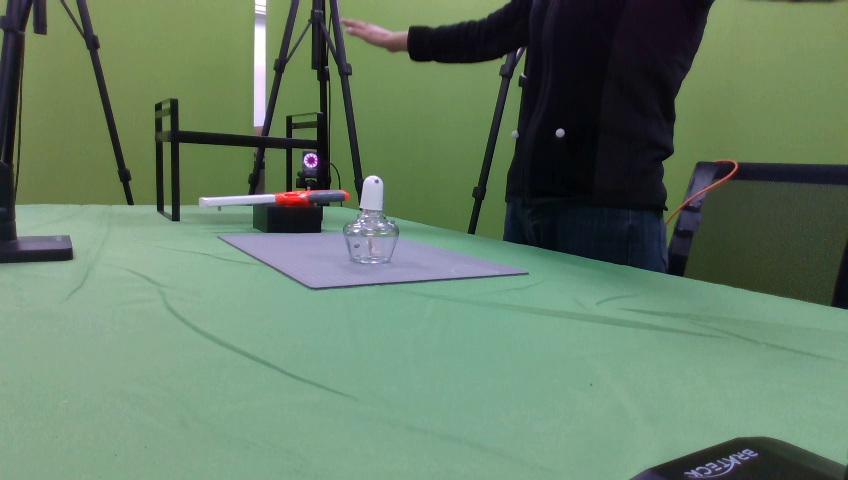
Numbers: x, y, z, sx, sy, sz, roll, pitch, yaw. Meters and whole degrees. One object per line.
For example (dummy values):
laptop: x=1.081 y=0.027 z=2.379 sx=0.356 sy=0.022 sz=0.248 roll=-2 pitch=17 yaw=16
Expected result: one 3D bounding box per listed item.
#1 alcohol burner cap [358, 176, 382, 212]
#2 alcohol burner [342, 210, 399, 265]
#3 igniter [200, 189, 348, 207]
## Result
alcohol burner cap: x=-0.070 y=-0.063 z=0.814 sx=0.034 sy=0.048 sz=0.034 roll=9 pitch=9 yaw=-1
alcohol burner: x=-0.073 y=-0.027 z=0.818 sx=0.078 sy=0.119 sz=0.078 roll=1 pitch=6 yaw=0
igniter: x=-0.275 y=-0.079 z=1.142 sx=0.278 sy=0.025 sz=0.057 roll=-6 pitch=11 yaw=-32
